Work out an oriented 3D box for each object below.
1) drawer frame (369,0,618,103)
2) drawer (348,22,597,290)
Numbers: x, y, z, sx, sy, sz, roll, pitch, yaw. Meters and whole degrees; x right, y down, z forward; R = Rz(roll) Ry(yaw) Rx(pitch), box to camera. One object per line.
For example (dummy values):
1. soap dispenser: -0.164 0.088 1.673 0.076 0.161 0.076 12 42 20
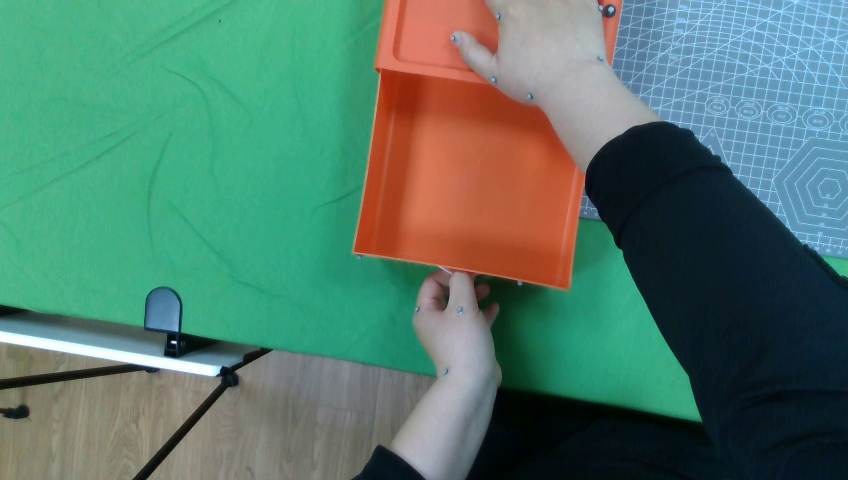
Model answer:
1. drawer frame: 0.069 -0.234 0.536 0.201 0.083 0.213 9 94 8
2. drawer: 0.046 -0.073 0.549 0.194 0.073 0.212 9 94 7
